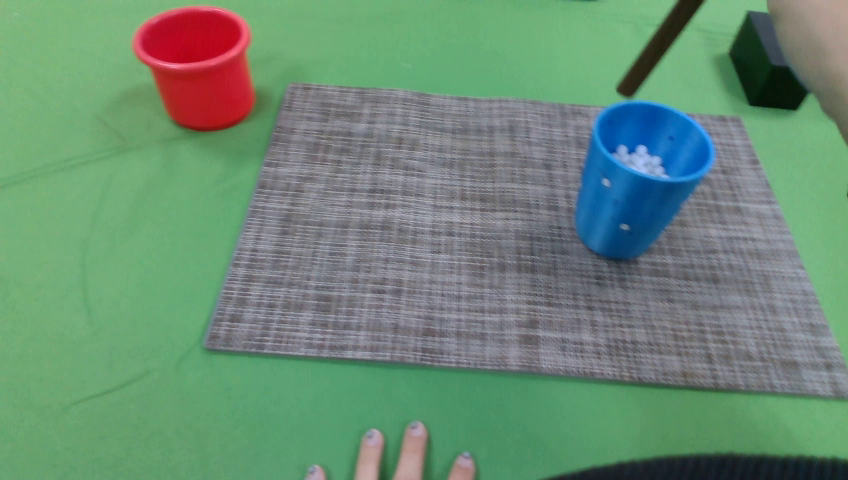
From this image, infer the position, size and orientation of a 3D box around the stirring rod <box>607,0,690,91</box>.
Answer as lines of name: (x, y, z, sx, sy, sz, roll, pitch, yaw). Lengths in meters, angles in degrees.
stirring rod: (0.151, -0.150, 0.333, 0.014, 0.177, 0.006, 31, 52, 3)

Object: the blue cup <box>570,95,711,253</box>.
blue cup: (0.153, -0.043, 0.461, 0.093, 0.101, 0.091, 3, 51, -3)
